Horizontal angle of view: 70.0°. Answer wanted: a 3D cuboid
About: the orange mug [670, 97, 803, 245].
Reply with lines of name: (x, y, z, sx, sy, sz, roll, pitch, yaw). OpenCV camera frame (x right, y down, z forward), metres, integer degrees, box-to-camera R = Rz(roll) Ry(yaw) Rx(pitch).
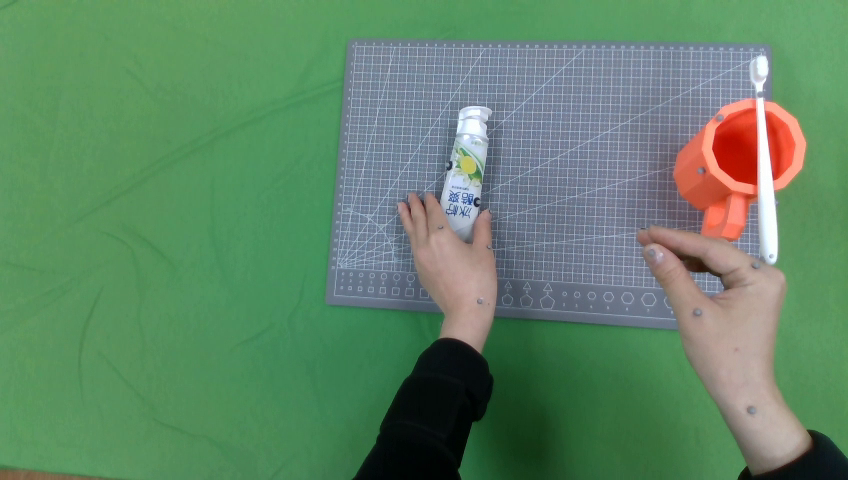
orange mug: (0.286, -0.060, 0.569, 0.083, 0.101, 0.126, 12, 80, 9)

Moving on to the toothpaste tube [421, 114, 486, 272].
toothpaste tube: (0.036, -0.052, 0.636, 0.055, 0.034, 0.165, 10, 89, 13)

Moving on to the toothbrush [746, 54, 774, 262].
toothbrush: (0.288, -0.072, 0.517, 0.014, 0.017, 0.181, 0, 83, 5)

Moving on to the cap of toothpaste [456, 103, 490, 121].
cap of toothpaste: (0.051, -0.133, 0.636, 0.037, 0.037, 0.011, -3, 80, 7)
